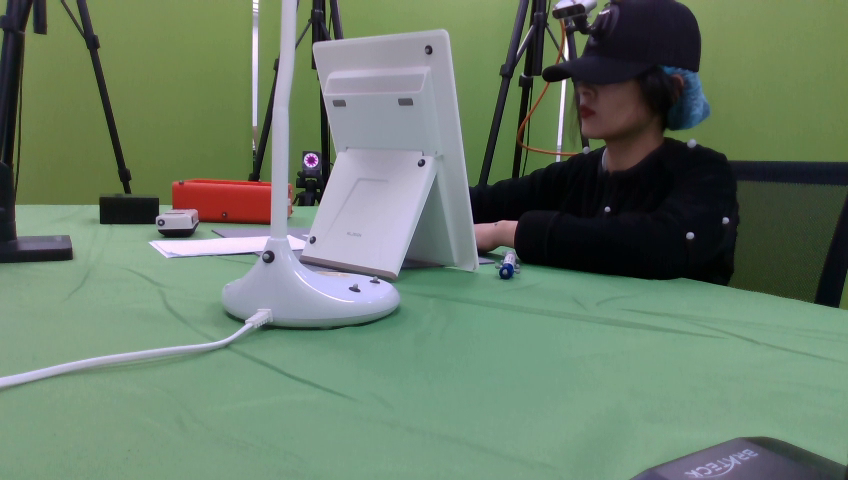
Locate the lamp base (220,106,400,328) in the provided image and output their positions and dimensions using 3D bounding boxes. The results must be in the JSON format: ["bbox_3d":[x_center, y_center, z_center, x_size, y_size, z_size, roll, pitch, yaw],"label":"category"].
[{"bbox_3d":[-0.101,-0.023,0.531,0.160,0.180,0.179,4,10,10],"label":"lamp base"}]

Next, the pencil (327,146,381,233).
[{"bbox_3d":[-0.120,-0.089,1.040,0.012,0.194,0.012,21,-27,12],"label":"pencil"}]

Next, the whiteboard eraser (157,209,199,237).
[{"bbox_3d":[-0.411,-0.029,1.016,0.056,0.042,0.112,2,7,-16],"label":"whiteboard eraser"}]

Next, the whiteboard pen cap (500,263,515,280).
[{"bbox_3d":[0.105,0.038,0.758,0.018,0.018,0.033,4,10,10],"label":"whiteboard pen cap"}]

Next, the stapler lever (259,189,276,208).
[{"bbox_3d":[-0.335,-0.090,1.300,0.027,0.040,0.118,15,4,-10],"label":"stapler lever"}]

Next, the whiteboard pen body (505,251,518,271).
[{"bbox_3d":[0.117,0.031,0.814,0.017,0.017,0.141,4,7,10],"label":"whiteboard pen body"}]

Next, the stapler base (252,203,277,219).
[{"bbox_3d":[-0.341,-0.065,1.301,0.041,0.024,0.130,15,5,-10],"label":"stapler base"}]

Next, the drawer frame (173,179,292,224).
[{"bbox_3d":[-0.400,-0.086,1.300,0.214,0.082,0.201,1,8,-8],"label":"drawer frame"}]

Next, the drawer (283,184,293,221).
[{"bbox_3d":[-0.396,-0.085,1.301,0.212,0.073,0.194,1,8,-7],"label":"drawer"}]

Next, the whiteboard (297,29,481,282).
[{"bbox_3d":[-0.076,-0.082,0.741,0.216,0.305,0.144,9,29,37],"label":"whiteboard"}]
